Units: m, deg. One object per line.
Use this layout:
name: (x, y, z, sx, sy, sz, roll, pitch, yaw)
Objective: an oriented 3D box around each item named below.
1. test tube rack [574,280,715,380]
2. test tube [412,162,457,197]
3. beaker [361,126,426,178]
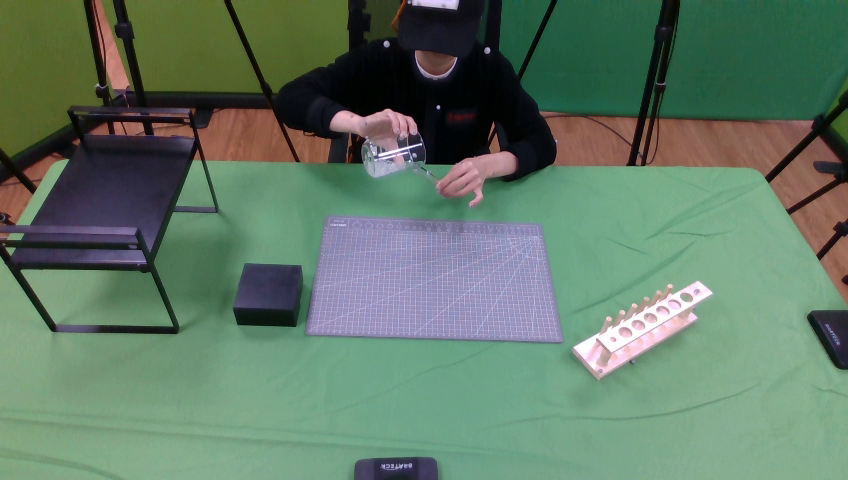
test tube rack: (0.378, 0.140, 1.038, 0.242, 0.085, 0.066, -22, 51, -23)
test tube: (0.023, -0.118, 1.198, 0.017, 0.151, 0.017, -13, 65, 31)
beaker: (-0.057, -0.155, 1.098, 0.100, 0.084, 0.073, -18, 46, -22)
